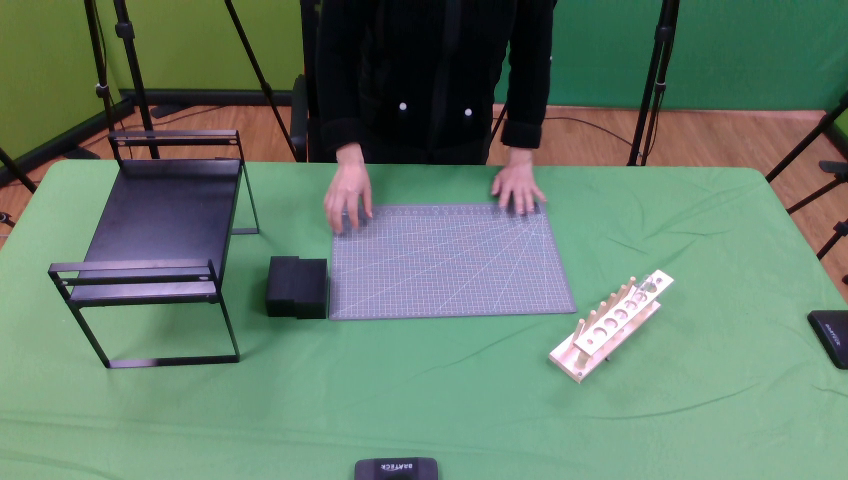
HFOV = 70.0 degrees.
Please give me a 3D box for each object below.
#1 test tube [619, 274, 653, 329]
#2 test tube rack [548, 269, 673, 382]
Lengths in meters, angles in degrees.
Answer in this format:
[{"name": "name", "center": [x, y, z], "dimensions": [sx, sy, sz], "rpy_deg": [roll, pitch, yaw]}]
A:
[{"name": "test tube", "center": [0.348, 0.105, 1.008], "dimensions": [0.017, 0.151, 0.017], "rpy_deg": [2, 51, -2]}, {"name": "test tube rack", "center": [0.325, 0.134, 1.047], "dimensions": [0.242, 0.085, 0.066], "rpy_deg": [-32, 56, -30]}]
